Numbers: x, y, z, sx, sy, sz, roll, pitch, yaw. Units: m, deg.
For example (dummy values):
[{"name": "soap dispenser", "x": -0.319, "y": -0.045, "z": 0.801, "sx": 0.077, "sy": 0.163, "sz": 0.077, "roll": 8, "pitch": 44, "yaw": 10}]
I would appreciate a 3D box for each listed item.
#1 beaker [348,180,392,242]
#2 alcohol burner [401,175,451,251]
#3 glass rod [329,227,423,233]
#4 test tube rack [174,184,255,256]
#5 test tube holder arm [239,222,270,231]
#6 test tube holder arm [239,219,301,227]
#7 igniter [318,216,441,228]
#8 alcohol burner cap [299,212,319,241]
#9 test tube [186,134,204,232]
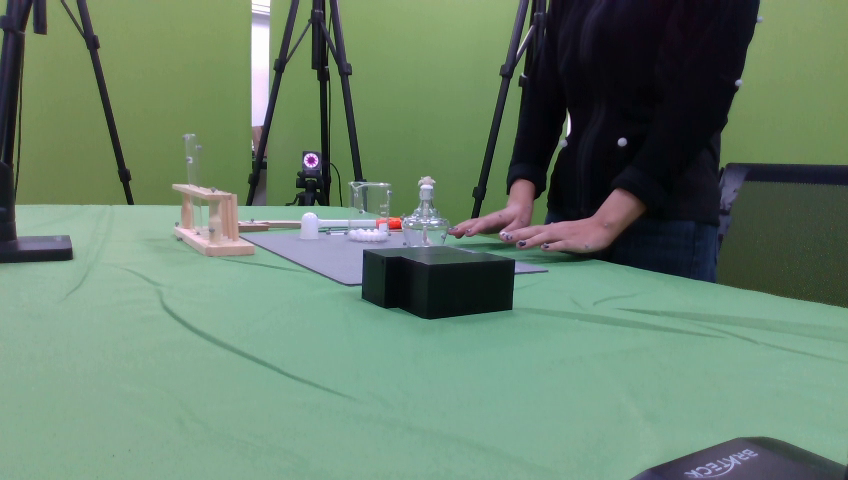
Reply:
[{"name": "beaker", "x": -0.095, "y": -0.049, "z": 1.027, "sx": 0.074, "sy": 0.100, "sz": 0.084, "roll": 5, "pitch": 9, "yaw": 25}, {"name": "alcohol burner", "x": 0.003, "y": -0.042, "z": 0.947, "sx": 0.078, "sy": 0.119, "sz": 0.078, "roll": 1, "pitch": 9, "yaw": 0}, {"name": "glass rod", "x": -0.087, "y": -0.019, "z": 1.148, "sx": 0.201, "sy": 0.008, "sz": 0.008, "roll": -3, "pitch": 8, "yaw": -32}, {"name": "test tube rack", "x": -0.327, "y": -0.036, "z": 0.928, "sx": 0.067, "sy": 0.085, "sz": 0.241, "roll": -2, "pitch": 9, "yaw": -32}, {"name": "test tube holder arm", "x": -0.322, "y": -0.024, "z": 1.100, "sx": 0.088, "sy": 0.015, "sz": 0.010, "roll": -5, "pitch": 44, "yaw": -49}, {"name": "test tube holder arm", "x": -0.296, "y": -0.030, "z": 1.137, "sx": 0.179, "sy": 0.015, "sz": 0.013, "roll": -6, "pitch": 45, "yaw": -50}, {"name": "igniter", "x": -0.090, "y": -0.035, "z": 1.222, "sx": 0.278, "sy": 0.025, "sz": 0.057, "roll": -2, "pitch": -2, "yaw": -31}, {"name": "alcohol burner cap", "x": -0.195, "y": -0.024, "z": 1.025, "sx": 0.034, "sy": 0.048, "sz": 0.034, "roll": 3, "pitch": 7, "yaw": 0}, {"name": "test tube", "x": -0.350, "y": -0.086, "z": 0.925, "sx": 0.017, "sy": 0.150, "sz": 0.017, "roll": -2, "pitch": 7, "yaw": 1}]
